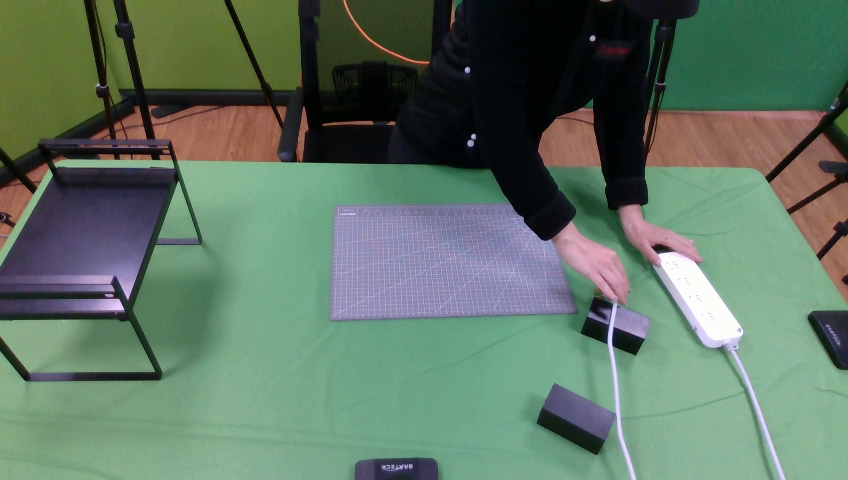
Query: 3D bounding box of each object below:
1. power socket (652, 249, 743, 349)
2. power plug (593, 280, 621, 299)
[{"bbox_3d":[0.503,0.104,1.125,0.072,0.033,0.225,-8,48,-11],"label":"power socket"},{"bbox_3d":[0.330,0.091,1.106,0.052,0.073,0.035,-18,79,28],"label":"power plug"}]
